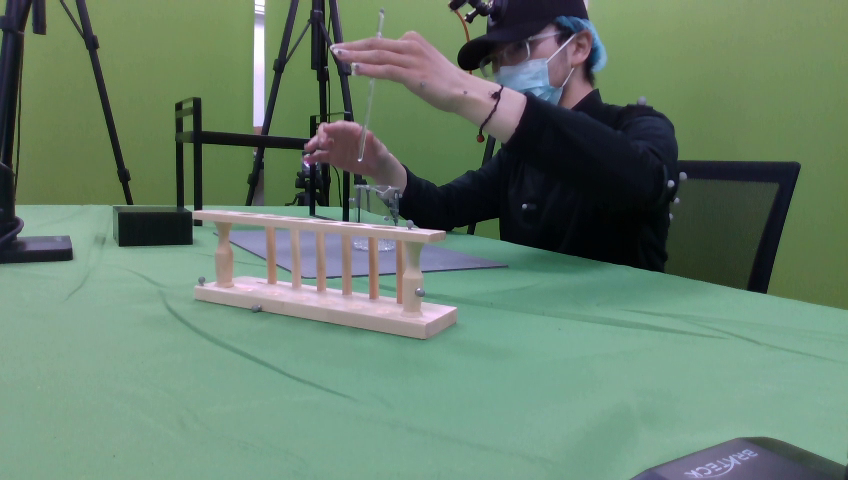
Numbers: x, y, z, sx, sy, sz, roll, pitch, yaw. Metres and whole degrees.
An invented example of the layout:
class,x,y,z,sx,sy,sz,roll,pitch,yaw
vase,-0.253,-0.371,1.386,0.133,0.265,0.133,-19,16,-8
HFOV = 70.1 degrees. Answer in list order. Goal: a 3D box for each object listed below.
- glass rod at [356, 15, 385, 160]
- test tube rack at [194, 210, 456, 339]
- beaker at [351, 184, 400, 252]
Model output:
class,x,y,z,sx,sy,sz,roll,pitch,yaw
glass rod,-0.072,-0.204,0.806,0.008,0.199,0.008,9,-4,1
test tube rack,-0.093,0.023,0.546,0.241,0.085,0.067,6,8,25
beaker,-0.074,-0.034,0.929,0.074,0.100,0.083,0,8,-17
